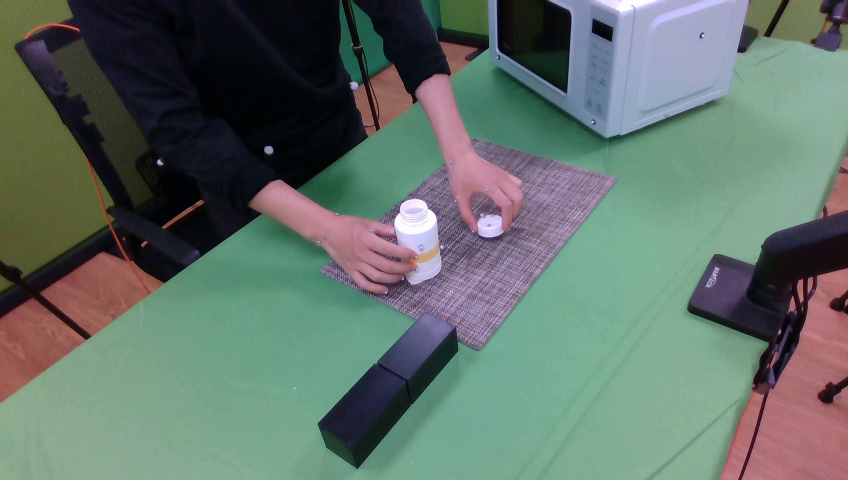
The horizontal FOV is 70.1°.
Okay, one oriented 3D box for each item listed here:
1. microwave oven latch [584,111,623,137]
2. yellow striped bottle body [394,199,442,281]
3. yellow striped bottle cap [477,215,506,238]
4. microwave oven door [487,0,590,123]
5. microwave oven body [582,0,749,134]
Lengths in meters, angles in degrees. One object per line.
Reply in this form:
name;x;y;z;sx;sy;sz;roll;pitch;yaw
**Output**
microwave oven latch;0.337;-0.222;1.142;0.030;0.029;0.078;-21;42;-14
yellow striped bottle body;-0.009;-0.002;0.891;0.063;0.121;0.062;-4;41;4
yellow striped bottle cap;0.106;-0.021;0.955;0.044;0.019;0.044;-7;29;5
microwave oven door;0.232;-0.420;1.230;0.039;0.245;0.352;-22;43;-16
microwave oven body;0.382;-0.444;1.246;0.327;0.261;0.437;-22;42;-16
